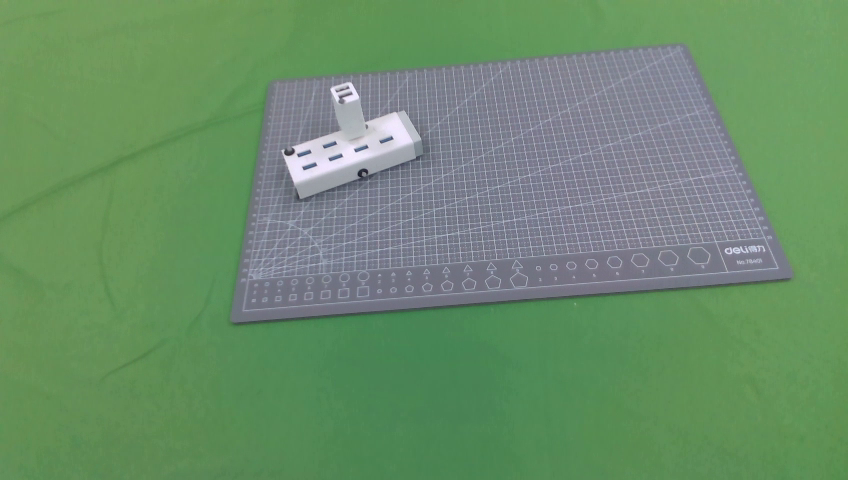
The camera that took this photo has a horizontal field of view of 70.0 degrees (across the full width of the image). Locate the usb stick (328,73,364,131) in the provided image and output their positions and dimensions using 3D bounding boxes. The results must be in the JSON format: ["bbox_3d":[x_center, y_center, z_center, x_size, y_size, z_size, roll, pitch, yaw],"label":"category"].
[{"bbox_3d":[-0.070,-0.121,0.555,0.021,0.060,0.027,-22,54,-10],"label":"usb stick"}]

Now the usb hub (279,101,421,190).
[{"bbox_3d":[-0.069,-0.091,0.570,0.125,0.025,0.049,-21,56,-10],"label":"usb hub"}]
